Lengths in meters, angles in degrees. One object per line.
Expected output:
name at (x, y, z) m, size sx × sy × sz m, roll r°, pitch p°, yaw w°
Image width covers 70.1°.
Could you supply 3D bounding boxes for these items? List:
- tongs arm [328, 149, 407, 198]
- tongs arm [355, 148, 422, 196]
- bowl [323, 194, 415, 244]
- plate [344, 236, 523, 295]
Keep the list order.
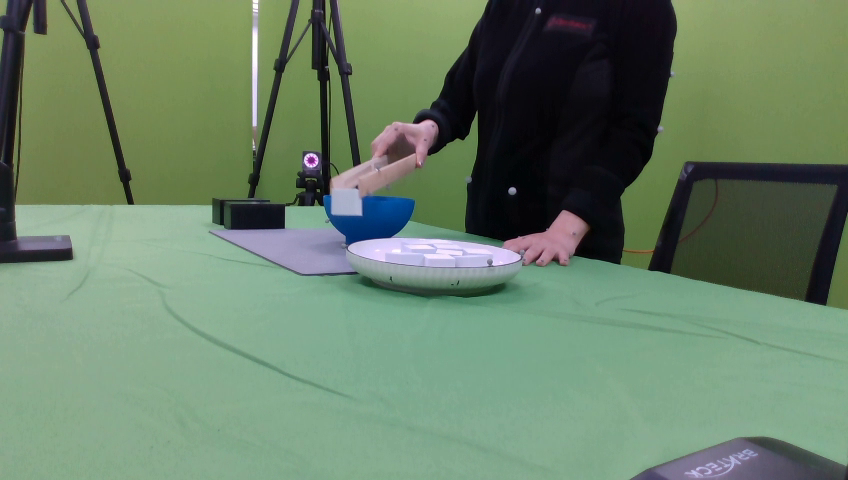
tongs arm at (-0.077, -0.107, 0.915) m, size 0.028 × 0.028 × 0.388 m, roll -8°, pitch 12°, yaw 12°
tongs arm at (-0.054, -0.109, 0.911) m, size 0.050 × 0.026 × 0.385 m, roll -3°, pitch 13°, yaw 16°
bowl at (-0.091, -0.032, 0.986) m, size 0.151 × 0.077 × 0.151 m, roll 2°, pitch 7°, yaw 0°
plate at (0.010, 0.030, 0.707) m, size 0.208 × 0.039 × 0.207 m, roll 3°, pitch 8°, yaw 0°
